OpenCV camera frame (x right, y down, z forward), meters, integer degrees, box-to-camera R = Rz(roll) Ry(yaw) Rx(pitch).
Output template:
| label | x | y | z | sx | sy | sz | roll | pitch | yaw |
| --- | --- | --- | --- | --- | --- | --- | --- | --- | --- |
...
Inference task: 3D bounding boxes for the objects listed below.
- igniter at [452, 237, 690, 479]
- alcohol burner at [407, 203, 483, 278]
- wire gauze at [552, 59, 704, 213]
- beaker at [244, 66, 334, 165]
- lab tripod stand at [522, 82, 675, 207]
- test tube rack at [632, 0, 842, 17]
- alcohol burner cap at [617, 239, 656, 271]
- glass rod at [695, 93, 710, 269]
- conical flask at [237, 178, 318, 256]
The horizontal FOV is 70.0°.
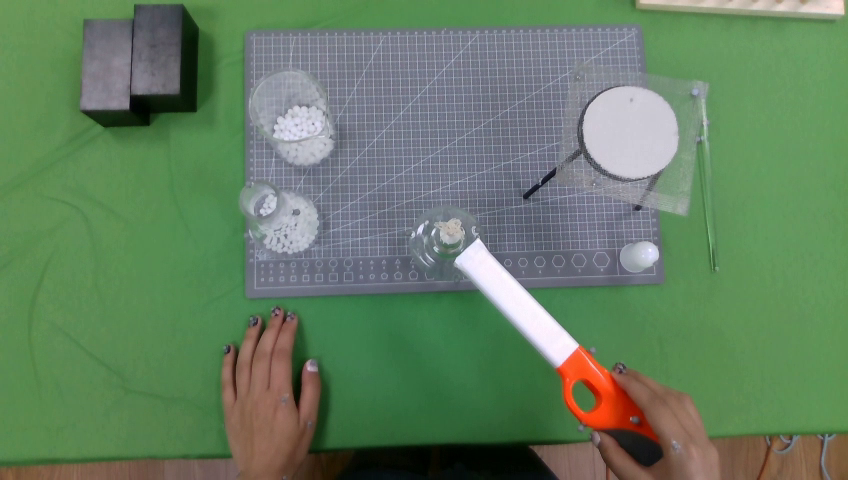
| label | x | y | z | sx | sy | sz | roll | pitch | yaw |
| --- | --- | --- | --- | --- | --- | --- | --- | --- | --- |
| igniter | 0.127 | 0.108 | 0.522 | 0.057 | 0.025 | 0.276 | -41 | 85 | -15 |
| alcohol burner | 0.021 | -0.002 | 0.600 | 0.078 | 0.119 | 0.077 | 0 | 82 | 0 |
| wire gauze | 0.183 | -0.095 | 0.542 | 0.125 | 0.011 | 0.121 | 13 | 83 | 0 |
| beaker | -0.129 | -0.120 | 0.616 | 0.084 | 0.100 | 0.074 | 34 | 82 | 2 |
| lab tripod stand | 0.177 | -0.087 | 0.608 | 0.148 | 0.131 | 0.148 | 0 | 84 | -2 |
| test tube rack | 0.366 | -0.305 | 0.673 | 0.242 | 0.085 | 0.066 | 2 | 82 | -2 |
| alcohol burner cap | 0.228 | 0.014 | 0.643 | 0.034 | 0.048 | 0.033 | 0 | 81 | -3 |
| glass rod | 0.312 | -0.067 | 0.677 | 0.008 | 0.008 | 0.199 | -1 | 85 | -3 |
| conical flask | -0.148 | -0.028 | 0.591 | 0.075 | 0.122 | 0.075 | 0 | 82 | -2 |
